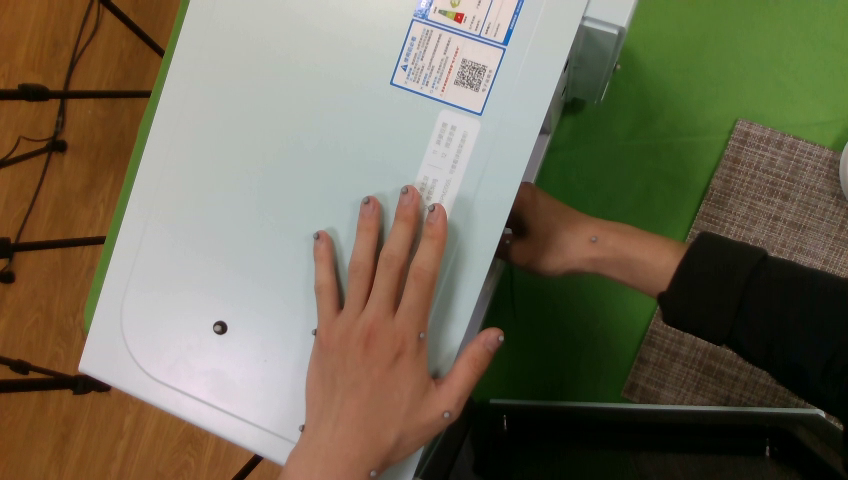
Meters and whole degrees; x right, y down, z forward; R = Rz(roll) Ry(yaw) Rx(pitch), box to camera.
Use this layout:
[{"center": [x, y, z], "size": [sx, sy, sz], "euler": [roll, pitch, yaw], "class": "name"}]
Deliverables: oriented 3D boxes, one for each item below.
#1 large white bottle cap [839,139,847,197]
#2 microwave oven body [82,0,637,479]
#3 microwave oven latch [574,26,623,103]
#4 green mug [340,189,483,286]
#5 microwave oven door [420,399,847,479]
[{"center": [0.450, -0.069, 0.560], "size": [0.114, 0.018, 0.115], "euler": [0, 91, 11], "class": "large white bottle cap"}, {"center": [-0.045, -0.060, 0.538], "size": [0.325, 0.260, 0.442], "euler": [20, 96, 10], "class": "microwave oven body"}, {"center": [0.171, -0.177, 0.589], "size": [0.030, 0.029, 0.079], "euler": [21, 96, 10], "class": "microwave oven latch"}, {"center": [-0.009, -0.002, 0.550], "size": [0.125, 0.105, 0.092], "euler": [2, 90, 5], "class": "green mug"}, {"center": [0.185, 0.183, 0.494], "size": [0.355, 0.244, 0.039], "euler": [-2, 91, 12], "class": "microwave oven door"}]
